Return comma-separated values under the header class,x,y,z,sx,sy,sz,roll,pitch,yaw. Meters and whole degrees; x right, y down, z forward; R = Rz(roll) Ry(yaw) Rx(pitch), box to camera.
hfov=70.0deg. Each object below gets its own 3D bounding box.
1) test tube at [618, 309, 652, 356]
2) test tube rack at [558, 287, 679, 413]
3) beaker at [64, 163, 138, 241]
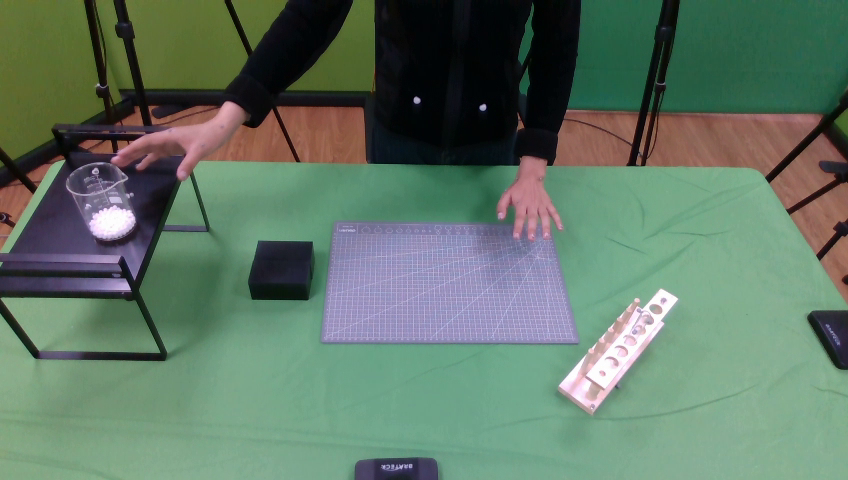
class,x,y,z,sx,sy,sz,roll,pitch,yaw
test tube,0.328,0.156,0.955,0.017,0.151,0.017,1,50,-1
test tube rack,0.326,0.170,1.009,0.066,0.085,0.242,35,54,26
beaker,-0.478,-0.055,0.910,0.084,0.101,0.073,-9,48,-13
